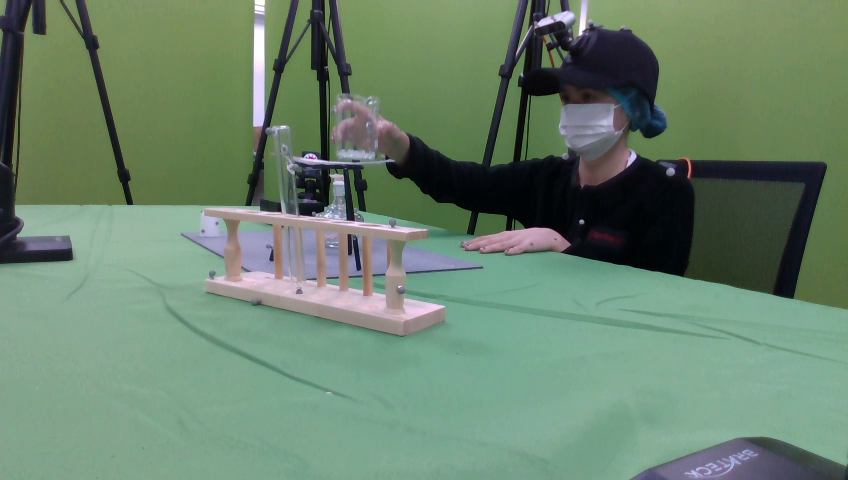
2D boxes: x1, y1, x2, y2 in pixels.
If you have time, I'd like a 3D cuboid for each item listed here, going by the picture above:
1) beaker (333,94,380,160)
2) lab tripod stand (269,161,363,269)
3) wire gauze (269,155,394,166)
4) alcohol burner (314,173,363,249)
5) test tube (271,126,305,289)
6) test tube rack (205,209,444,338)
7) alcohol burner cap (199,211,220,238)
[{"bbox_3d":[-0.109,-0.183,0.982,0.074,0.100,0.083,0,5,-26],"label":"beaker"},{"bbox_3d":[-0.125,-0.036,0.794,0.148,0.131,0.148,5,7,0],"label":"lab tripod stand"},{"bbox_3d":[-0.121,-0.102,0.785,0.122,0.011,0.124,-3,10,-39],"label":"wire gauze"},{"bbox_3d":[-0.135,-0.046,0.952,0.078,0.119,0.078,1,9,0],"label":"alcohol burner"},{"bbox_3d":[-0.124,-0.028,0.554,0.017,0.150,0.017,-5,7,1],"label":"test tube"},{"bbox_3d":[-0.100,0.021,0.565,0.241,0.085,0.067,7,8,32],"label":"test tube rack"},{"bbox_3d":[-0.356,-0.027,1.002,0.034,0.048,0.034,2,7,0],"label":"alcohol burner cap"}]
